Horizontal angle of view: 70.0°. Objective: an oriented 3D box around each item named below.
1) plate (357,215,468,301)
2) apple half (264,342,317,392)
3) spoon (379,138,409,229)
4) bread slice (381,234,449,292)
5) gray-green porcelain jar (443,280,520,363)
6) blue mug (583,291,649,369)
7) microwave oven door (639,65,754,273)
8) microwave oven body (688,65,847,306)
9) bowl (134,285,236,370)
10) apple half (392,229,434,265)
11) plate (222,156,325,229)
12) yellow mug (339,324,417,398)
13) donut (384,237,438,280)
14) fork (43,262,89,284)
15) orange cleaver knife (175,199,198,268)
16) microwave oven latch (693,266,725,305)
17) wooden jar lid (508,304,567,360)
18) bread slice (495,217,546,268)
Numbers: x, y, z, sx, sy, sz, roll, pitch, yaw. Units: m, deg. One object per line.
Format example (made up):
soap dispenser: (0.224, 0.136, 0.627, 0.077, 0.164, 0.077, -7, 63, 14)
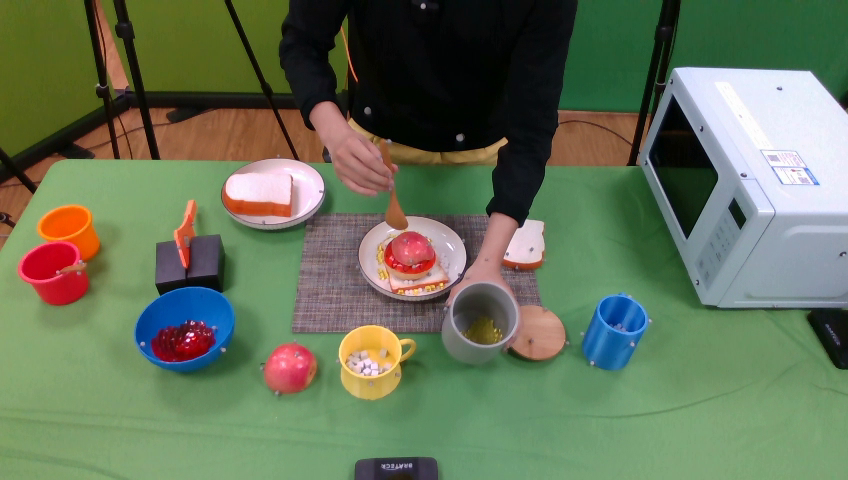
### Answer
plate: (-0.021, 0.037, 1.141, 0.208, 0.039, 0.206, 2, 46, -2)
apple half: (-0.214, 0.198, 0.970, 0.074, 0.053, 0.080, 19, 48, 10)
spoon: (-0.052, -0.083, 0.954, 0.041, 0.195, 0.021, 9, 46, 16)
bread slice: (-0.027, 0.040, 1.141, 0.107, 0.018, 0.133, -12, 49, -16)
gray-green porcelain jar: (0.085, 0.133, 0.954, 0.106, 0.127, 0.105, 2, 66, -5)
blue mug: (0.324, 0.142, 1.023, 0.082, 0.106, 0.116, 16, 47, 11)
microwave oven door: (0.522, -0.147, 1.193, 0.039, 0.245, 0.353, 0, 47, -3)
microwave oven body: (0.669, -0.111, 1.176, 0.326, 0.261, 0.439, 0, 46, -3)
bowl: (-0.377, 0.155, 0.981, 0.151, 0.077, 0.150, 2, 46, -2)
apple half: (-0.020, 0.005, 1.083, 0.081, 0.033, 0.081, 6, 48, -6)
plate: (-0.308, -0.095, 1.251, 0.209, 0.038, 0.208, 2, 47, -2)
yellow mug: (-0.072, 0.190, 0.978, 0.131, 0.064, 0.099, -17, 51, -20)
donut: (-0.025, 0.029, 1.109, 0.099, 0.048, 0.098, 2, 46, -2)
fork: (-0.599, 0.053, 1.013, 0.207, 0.019, 0.028, -14, 30, 45)
orange cleaver knife: (-0.438, -0.017, 1.138, 0.012, 0.077, 0.210, -13, 27, -7)
microwave oven latch: (0.523, 0.081, 1.115, 0.030, 0.029, 0.078, 3, 46, 0)
wooden jar lid: (0.192, 0.161, 1.052, 0.108, 0.021, 0.107, 2, 50, -2)
bread slice: (0.194, 0.002, 1.205, 0.105, 0.019, 0.131, 5, 45, 3)
